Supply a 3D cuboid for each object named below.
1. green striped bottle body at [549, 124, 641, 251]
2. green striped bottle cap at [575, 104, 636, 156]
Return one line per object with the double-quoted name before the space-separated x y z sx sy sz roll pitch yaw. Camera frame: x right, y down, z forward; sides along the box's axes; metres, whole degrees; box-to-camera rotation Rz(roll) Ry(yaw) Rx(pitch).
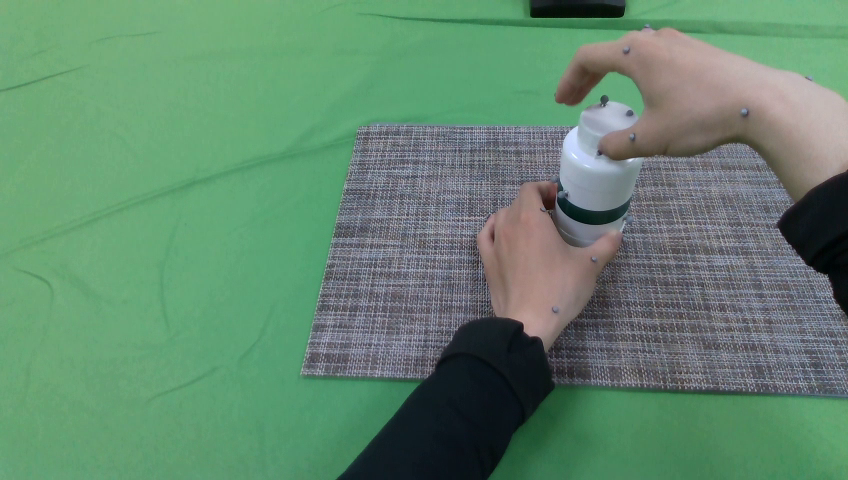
"green striped bottle body" 0.141 -0.051 0.503 0.063 0.120 0.062 -2 49 2
"green striped bottle cap" 0.138 -0.084 0.461 0.044 0.020 0.044 -3 48 4
